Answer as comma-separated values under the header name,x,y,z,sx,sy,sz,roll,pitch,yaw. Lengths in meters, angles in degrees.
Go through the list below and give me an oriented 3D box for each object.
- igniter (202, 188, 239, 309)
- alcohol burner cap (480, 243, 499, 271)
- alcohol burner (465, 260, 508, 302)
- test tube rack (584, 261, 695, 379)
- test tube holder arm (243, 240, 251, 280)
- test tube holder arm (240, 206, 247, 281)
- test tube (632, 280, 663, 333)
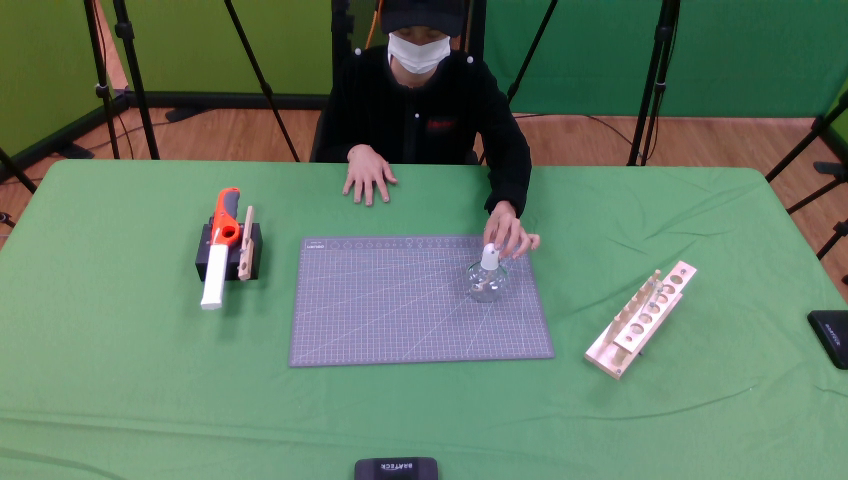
name,x,y,z,sx,sy,sz,roll,pitch,yaw
igniter,-0.366,0.006,1.095,0.057,0.025,0.274,-2,49,-7
alcohol burner cap,0.117,0.026,1.055,0.034,0.048,0.033,2,39,-2
alcohol burner,0.114,0.057,1.085,0.078,0.120,0.077,2,48,-2
test tube rack,0.380,0.127,1.062,0.066,0.085,0.242,34,53,26
test tube holder arm,-0.315,0.035,1.077,0.010,0.015,0.087,-4,48,-10
test tube holder arm,-0.329,0.002,1.106,0.013,0.015,0.177,-6,48,-11
test tube,0.363,0.121,0.997,0.017,0.151,0.017,2,44,-1
